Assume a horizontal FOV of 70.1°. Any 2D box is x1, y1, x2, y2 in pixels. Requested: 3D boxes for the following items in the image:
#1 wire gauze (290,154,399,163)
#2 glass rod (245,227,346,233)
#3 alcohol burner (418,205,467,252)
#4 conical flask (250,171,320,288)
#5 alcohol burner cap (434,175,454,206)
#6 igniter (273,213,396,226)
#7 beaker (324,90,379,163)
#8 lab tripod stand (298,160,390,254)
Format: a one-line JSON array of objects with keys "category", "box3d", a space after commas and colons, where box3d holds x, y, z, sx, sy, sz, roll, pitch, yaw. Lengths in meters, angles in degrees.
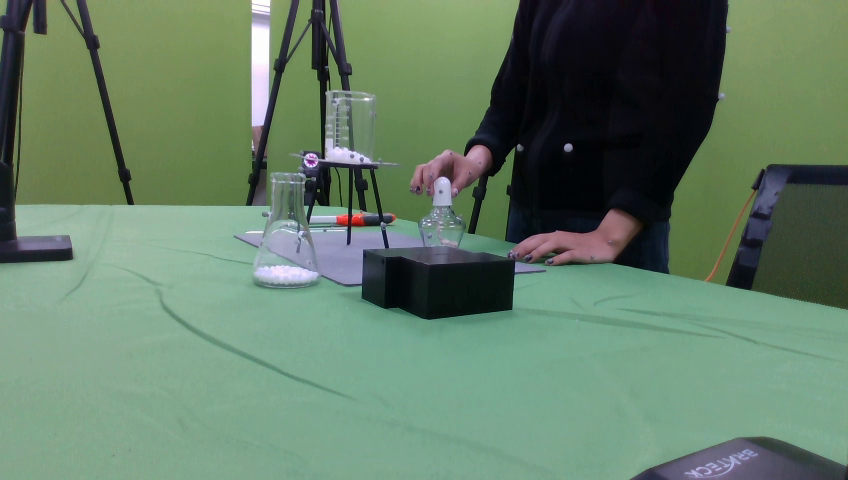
[{"category": "wire gauze", "box3d": [-0.112, -0.114, 0.883, 0.124, 0.011, 0.122, 5, 5, 28]}, {"category": "glass rod", "box3d": [-0.236, -0.021, 1.140, 0.201, 0.008, 0.008, -3, 8, -33]}, {"category": "alcohol burner", "box3d": [0.029, -0.042, 0.954, 0.078, 0.119, 0.078, 0, 6, 0]}, {"category": "conical flask", "box3d": [-0.150, -0.013, 0.658, 0.075, 0.122, 0.075, 2, 7, 0]}, {"category": "alcohol burner cap", "box3d": [0.029, -0.078, 0.949, 0.034, 0.048, 0.034, -5, 8, 1]}, {"category": "igniter", "box3d": [-0.179, -0.044, 1.258, 0.278, 0.025, 0.057, -3, -1, -39]}, {"category": "beaker", "box3d": [-0.110, -0.162, 0.879, 0.083, 0.100, 0.074, 8, 7, 36]}, {"category": "lab tripod stand", "box3d": [-0.111, -0.050, 0.893, 0.148, 0.131, 0.148, 4, 6, 0]}]
